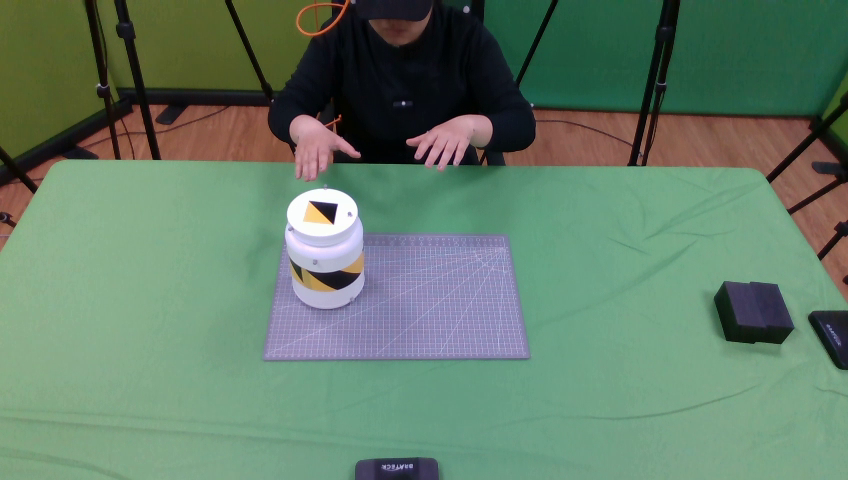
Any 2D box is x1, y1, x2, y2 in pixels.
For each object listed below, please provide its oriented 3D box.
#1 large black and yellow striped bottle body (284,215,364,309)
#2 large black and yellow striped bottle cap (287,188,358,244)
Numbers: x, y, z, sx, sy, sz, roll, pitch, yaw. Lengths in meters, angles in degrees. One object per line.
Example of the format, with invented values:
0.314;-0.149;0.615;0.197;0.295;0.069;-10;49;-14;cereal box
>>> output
-0.171;0.017;1.052;0.131;0.185;0.130;2;46;-2;large black and yellow striped bottle body
-0.166;-0.041;0.991;0.115;0.019;0.114;2;46;-2;large black and yellow striped bottle cap
